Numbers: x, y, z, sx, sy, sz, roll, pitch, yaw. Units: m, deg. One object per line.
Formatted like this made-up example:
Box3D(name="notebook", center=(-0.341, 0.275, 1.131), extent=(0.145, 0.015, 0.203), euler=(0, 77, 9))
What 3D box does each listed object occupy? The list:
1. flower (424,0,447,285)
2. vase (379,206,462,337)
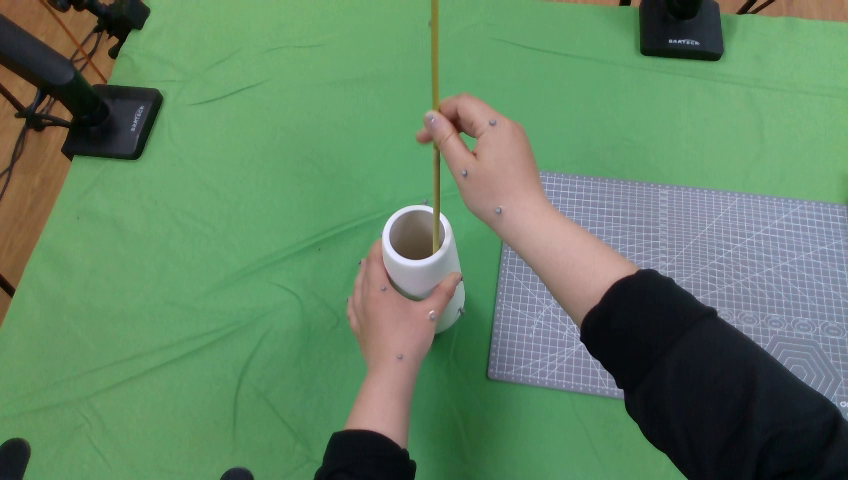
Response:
Box3D(name="flower", center=(0.008, -0.101, 0.481), extent=(0.043, 0.365, 0.038), euler=(24, 46, 33))
Box3D(name="vase", center=(-0.004, 0.039, 0.678), extent=(0.098, 0.201, 0.097), euler=(0, 64, 1))
